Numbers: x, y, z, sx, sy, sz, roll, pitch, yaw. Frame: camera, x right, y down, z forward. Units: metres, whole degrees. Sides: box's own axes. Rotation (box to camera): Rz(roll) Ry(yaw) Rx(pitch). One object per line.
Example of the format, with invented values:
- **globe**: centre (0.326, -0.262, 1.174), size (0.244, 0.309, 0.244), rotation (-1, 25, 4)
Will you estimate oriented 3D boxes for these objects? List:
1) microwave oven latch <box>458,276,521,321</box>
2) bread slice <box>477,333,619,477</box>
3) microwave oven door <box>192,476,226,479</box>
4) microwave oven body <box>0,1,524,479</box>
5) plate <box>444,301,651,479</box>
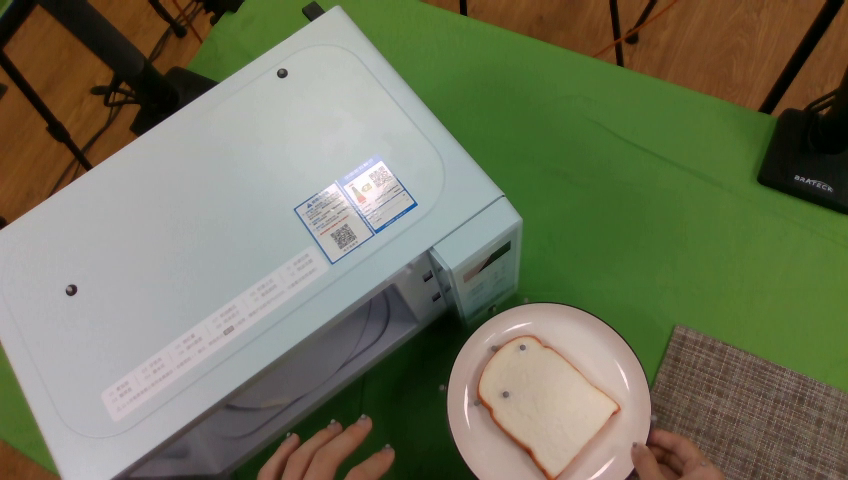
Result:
- **microwave oven latch**: centre (0.078, 0.062, 0.720), size (0.079, 0.030, 0.030), rotation (-34, 71, -4)
- **bread slice**: centre (0.120, 0.163, 0.634), size (0.131, 0.019, 0.105), rotation (41, 78, 16)
- **microwave oven door**: centre (-0.086, 0.274, 0.559), size (0.355, 0.245, 0.039), rotation (7, 72, 9)
- **microwave oven body**: centre (-0.163, 0.024, 0.661), size (0.441, 0.262, 0.323), rotation (-36, 71, -5)
- **plate**: centre (0.125, 0.168, 0.631), size (0.207, 0.039, 0.206), rotation (-2, 72, 5)
